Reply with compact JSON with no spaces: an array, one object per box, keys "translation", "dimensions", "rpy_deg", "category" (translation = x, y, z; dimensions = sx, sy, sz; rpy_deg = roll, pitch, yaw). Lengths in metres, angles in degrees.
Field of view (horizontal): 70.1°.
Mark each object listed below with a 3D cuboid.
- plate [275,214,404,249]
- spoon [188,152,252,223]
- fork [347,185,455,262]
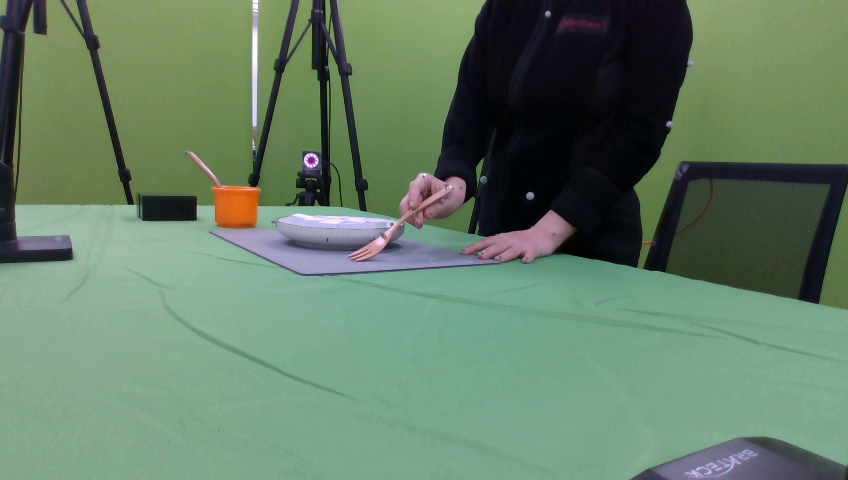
[{"translation":[-0.135,-0.013,0.982],"dimensions":[0.208,0.039,0.207],"rpy_deg":[3,7,0],"category":"plate"},{"translation":[-0.400,-0.103,1.178],"dimensions":[0.021,0.193,0.042],"rpy_deg":[-43,-11,28],"category":"spoon"},{"translation":[-0.027,-0.027,0.866],"dimensions":[0.028,0.018,0.208],"rpy_deg":[24,53,40],"category":"fork"}]
